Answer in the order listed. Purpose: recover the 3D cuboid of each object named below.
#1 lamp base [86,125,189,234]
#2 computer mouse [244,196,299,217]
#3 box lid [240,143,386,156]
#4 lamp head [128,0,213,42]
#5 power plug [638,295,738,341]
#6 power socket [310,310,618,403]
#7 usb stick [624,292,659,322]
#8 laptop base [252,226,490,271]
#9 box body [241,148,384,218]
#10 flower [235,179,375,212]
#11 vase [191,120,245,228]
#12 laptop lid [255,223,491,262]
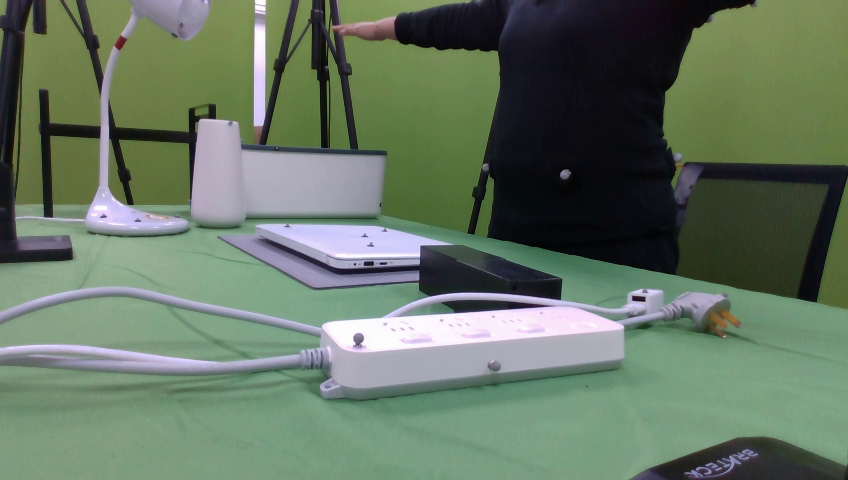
[{"bbox_3d":[-0.498,-0.105,1.027,0.179,0.180,0.160,1,7,3],"label":"lamp base"},{"bbox_3d":[-0.346,-0.077,1.373,0.118,0.041,0.062,-11,19,-33],"label":"computer mouse"},{"bbox_3d":[-0.304,-0.217,1.463,0.373,0.015,0.262,-2,8,-30],"label":"box lid"},{"bbox_3d":[-0.423,-0.394,0.980,0.123,0.112,0.112,20,7,-3],"label":"lamp head"},{"bbox_3d":[0.235,0.077,0.535,0.072,0.035,0.052,-33,39,-6],"label":"power plug"},{"bbox_3d":[0.033,0.074,0.415,0.228,0.032,0.072,-1,7,-24],"label":"power socket"},{"bbox_3d":[0.211,0.064,0.581,0.021,0.027,0.059,0,-3,37],"label":"usb stick"},{"bbox_3d":[-0.096,0.011,0.911,0.237,0.023,0.352,2,7,-32],"label":"laptop base"},{"bbox_3d":[-0.306,-0.144,1.474,0.366,0.160,0.253,-1,9,-30],"label":"box body"},{"bbox_3d":[-0.265,-0.093,1.417,0.364,0.044,0.038,8,47,-39],"label":"flower"},{"bbox_3d":[-0.389,-0.124,1.143,0.098,0.200,0.098,3,9,0],"label":"vase"},{"bbox_3d":[-0.093,0.000,0.911,0.243,0.013,0.355,1,7,-30],"label":"laptop lid"}]
